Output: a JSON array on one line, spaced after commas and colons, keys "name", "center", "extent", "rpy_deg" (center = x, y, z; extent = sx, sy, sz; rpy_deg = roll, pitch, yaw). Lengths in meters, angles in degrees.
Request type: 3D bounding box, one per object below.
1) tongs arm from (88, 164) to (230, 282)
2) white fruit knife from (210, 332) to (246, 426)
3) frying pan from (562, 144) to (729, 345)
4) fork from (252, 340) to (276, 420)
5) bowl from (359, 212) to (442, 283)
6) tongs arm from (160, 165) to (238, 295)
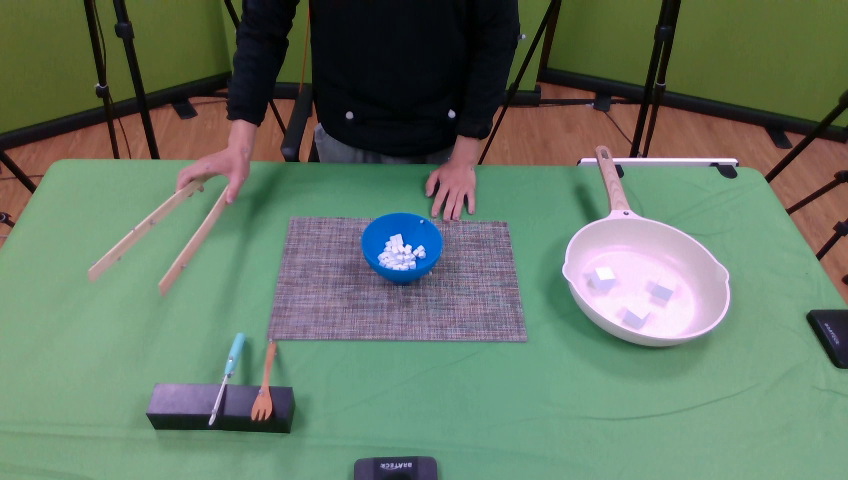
[{"name": "tongs arm", "center": [-0.457, -0.044, 1.088], "extent": [0.051, 0.026, 0.383], "rpy_deg": [10, 35, 6]}, {"name": "white fruit knife", "center": [-0.301, 0.206, 0.930], "extent": [0.016, 0.027, 0.206], "rpy_deg": [5, 29, -7]}, {"name": "frying pan", "center": [0.396, -0.008, 1.179], "extent": [0.307, 0.103, 0.484], "rpy_deg": [1, 55, -4]}, {"name": "fork", "center": [-0.242, 0.211, 0.932], "extent": [0.028, 0.019, 0.206], "rpy_deg": [-9, 27, -5]}, {"name": "bowl", "center": [-0.044, 0.026, 1.125], "extent": [0.151, 0.077, 0.150], "rpy_deg": [2, 46, -2]}, {"name": "tongs arm", "center": [-0.393, -0.033, 1.085], "extent": [0.028, 0.028, 0.385], "rpy_deg": [2, 35, 2]}]
